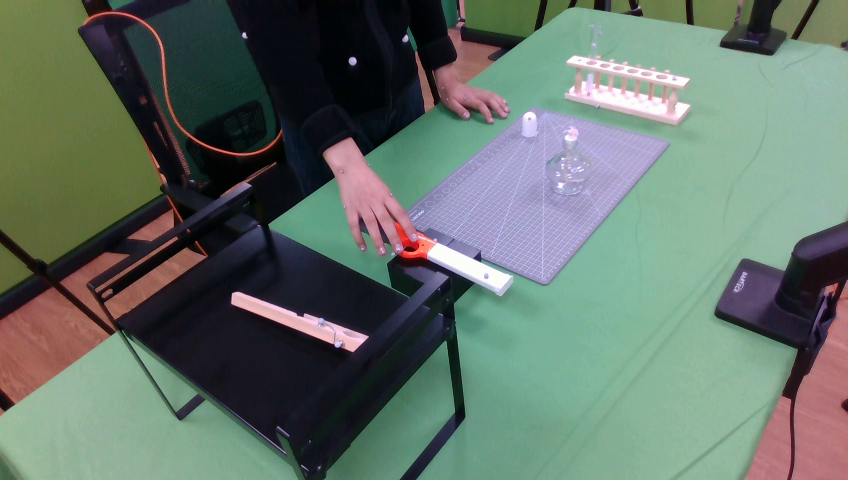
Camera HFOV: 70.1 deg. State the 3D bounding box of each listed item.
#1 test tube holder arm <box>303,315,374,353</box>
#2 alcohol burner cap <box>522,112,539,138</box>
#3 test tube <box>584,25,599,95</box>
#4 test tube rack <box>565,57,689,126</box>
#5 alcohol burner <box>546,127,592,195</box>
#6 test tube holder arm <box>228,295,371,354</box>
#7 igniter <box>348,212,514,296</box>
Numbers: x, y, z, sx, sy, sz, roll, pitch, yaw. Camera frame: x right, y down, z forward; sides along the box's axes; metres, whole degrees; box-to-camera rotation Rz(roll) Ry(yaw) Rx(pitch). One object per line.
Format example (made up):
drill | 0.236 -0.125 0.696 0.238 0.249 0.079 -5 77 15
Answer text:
test tube holder arm | -0.089 0.094 0.604 0.087 0.015 0.010 14 6 25
alcohol burner cap | 0.210 -0.230 1.195 0.034 0.048 0.033 -6 41 5
test tube | 0.339 -0.361 1.224 0.017 0.151 0.017 -4 45 4
test tube rack | 0.412 -0.311 1.230 0.240 0.085 0.067 23 49 32
alcohol burner | 0.247 -0.137 1.024 0.078 0.119 0.077 -4 38 4
test tube holder arm | -0.132 0.084 0.617 0.177 0.015 0.013 14 6 24
igniter | 0.003 0.014 0.880 0.274 0.025 0.057 23 52 28
